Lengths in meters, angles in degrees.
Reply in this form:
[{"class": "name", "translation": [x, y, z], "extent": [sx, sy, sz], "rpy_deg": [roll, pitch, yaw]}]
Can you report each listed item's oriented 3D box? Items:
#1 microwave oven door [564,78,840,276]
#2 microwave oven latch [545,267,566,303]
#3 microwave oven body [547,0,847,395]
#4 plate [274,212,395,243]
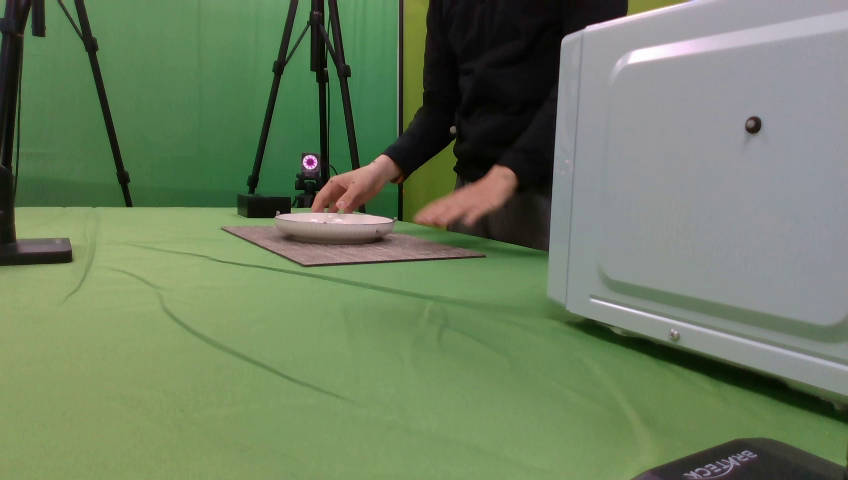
[{"class": "microwave oven door", "translation": [0.368, -0.093, 0.859], "extent": [0.354, 0.243, 0.039], "rpy_deg": [8, 9, 44]}, {"class": "microwave oven latch", "translation": [0.147, 0.039, 0.555], "extent": [0.079, 0.029, 0.030], "rpy_deg": [-1, 7, -29]}, {"class": "microwave oven body", "translation": [0.378, -0.046, 0.510], "extent": [0.444, 0.260, 0.324], "rpy_deg": [-2, 7, -31]}, {"class": "plate", "translation": [-0.157, -0.022, 1.066], "extent": [0.209, 0.038, 0.209], "rpy_deg": [2, 7, 0]}]
